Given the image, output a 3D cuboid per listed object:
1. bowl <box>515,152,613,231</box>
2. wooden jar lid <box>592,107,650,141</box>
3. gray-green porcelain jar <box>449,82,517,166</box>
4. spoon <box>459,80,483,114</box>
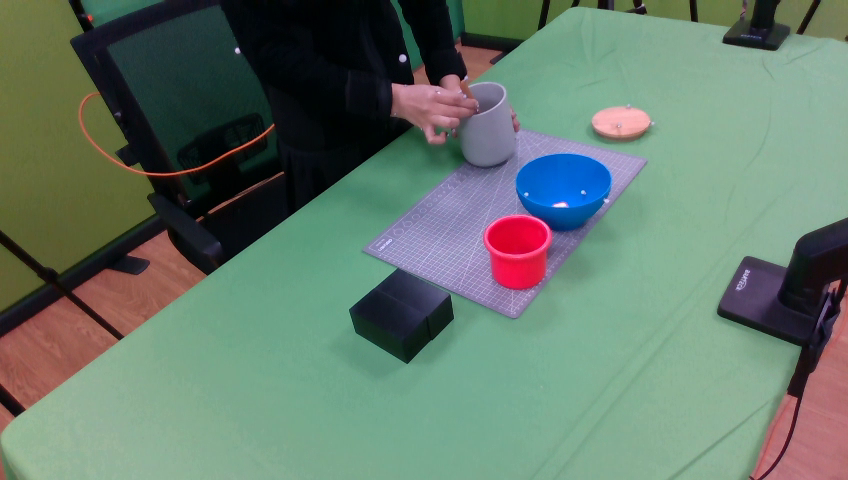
[{"bbox_3d":[0.224,-0.068,0.972,0.151,0.077,0.150,-5,40,5],"label":"bowl"},{"bbox_3d":[0.382,-0.225,1.178,0.108,0.021,0.108,-5,40,4],"label":"wooden jar lid"},{"bbox_3d":[0.112,-0.208,1.115,0.105,0.127,0.105,-12,44,12],"label":"gray-green porcelain jar"},{"bbox_3d":[0.100,-0.221,1.062,0.041,0.195,0.021,-33,53,11],"label":"spoon"}]
